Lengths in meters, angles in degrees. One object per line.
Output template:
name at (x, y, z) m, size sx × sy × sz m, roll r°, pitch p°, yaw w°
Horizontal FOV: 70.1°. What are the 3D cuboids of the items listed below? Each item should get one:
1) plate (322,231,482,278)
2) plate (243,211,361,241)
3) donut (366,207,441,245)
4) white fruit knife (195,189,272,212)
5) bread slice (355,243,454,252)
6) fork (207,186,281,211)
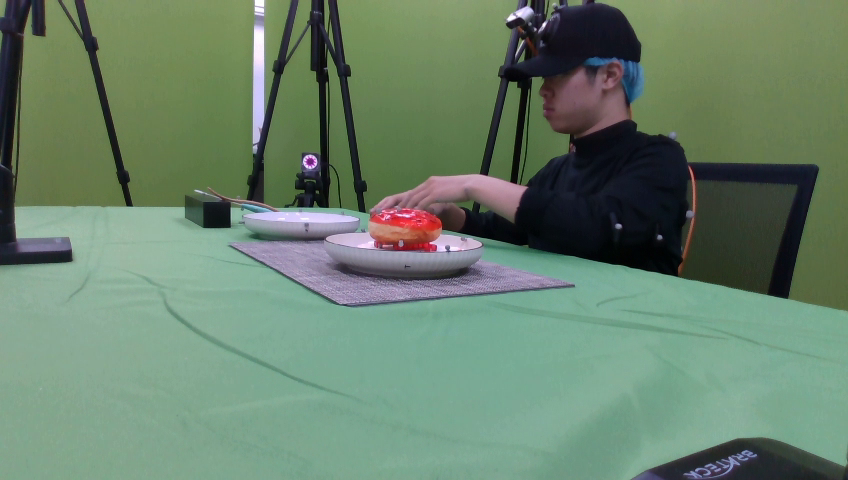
plate at (-0.028, 0.018, 0.789) m, size 0.209 × 0.038 × 0.209 m, roll 3°, pitch 7°, yaw 0°
plate at (-0.219, -0.025, 1.092) m, size 0.208 × 0.039 × 0.207 m, roll 2°, pitch 7°, yaw 0°
donut at (-0.027, -0.017, 0.786) m, size 0.099 × 0.048 × 0.099 m, roll 3°, pitch 7°, yaw 0°
white fruit knife at (-0.378, -0.073, 1.270) m, size 0.208 × 0.016 × 0.027 m, roll 18°, pitch -4°, yaw -32°
bread slice at (-0.027, 0.020, 0.794) m, size 0.131 × 0.019 × 0.105 m, roll 6°, pitch 7°, yaw 17°
fork at (-0.342, -0.070, 1.244) m, size 0.208 × 0.018 × 0.028 m, roll 18°, pitch -5°, yaw -24°
